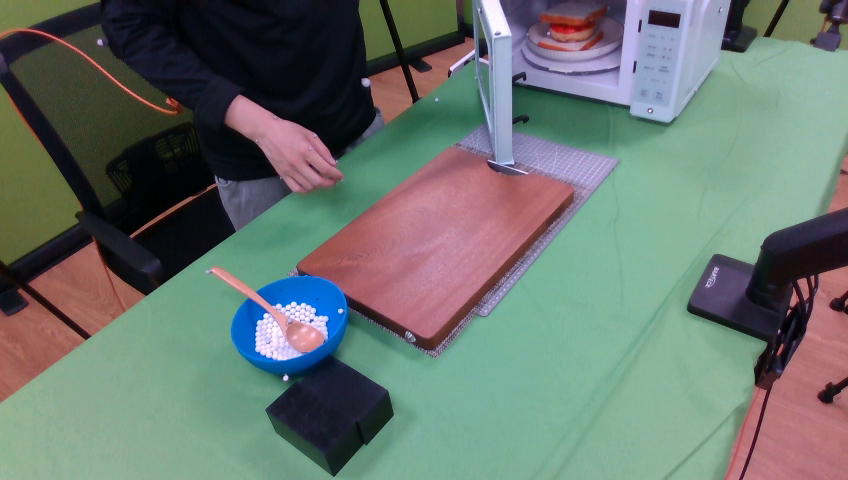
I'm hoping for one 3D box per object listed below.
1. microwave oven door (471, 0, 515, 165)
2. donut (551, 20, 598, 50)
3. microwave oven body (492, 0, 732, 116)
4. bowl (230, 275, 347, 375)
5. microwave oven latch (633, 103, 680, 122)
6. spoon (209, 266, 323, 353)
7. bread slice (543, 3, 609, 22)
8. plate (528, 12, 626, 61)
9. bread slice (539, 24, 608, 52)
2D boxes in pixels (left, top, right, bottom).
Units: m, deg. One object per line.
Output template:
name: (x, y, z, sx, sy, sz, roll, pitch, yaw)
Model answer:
microwave oven door: (0.127, -0.340, 1.153, 0.039, 0.245, 0.354, -6, 40, 2)
donut: (0.321, -0.442, 1.294, 0.099, 0.048, 0.098, -2, 44, 3)
microwave oven body: (0.377, -0.462, 1.267, 0.438, 0.261, 0.327, 21, 48, 30)
bowl: (-0.171, 0.125, 0.802, 0.151, 0.077, 0.150, -4, 40, 4)
microwave oven latch: (0.443, -0.249, 1.157, 0.078, 0.029, 0.030, 21, 48, 30)
spoon: (-0.213, 0.088, 0.806, 0.193, 0.021, 0.042, 37, 55, 11)
bread slice: (0.326, -0.483, 1.279, 0.106, 0.018, 0.135, 20, 36, 30)
plate: (0.334, -0.447, 1.330, 0.207, 0.039, 0.206, -6, 43, 6)
bread slice: (0.336, -0.449, 1.335, 0.132, 0.019, 0.104, -26, 43, -19)
